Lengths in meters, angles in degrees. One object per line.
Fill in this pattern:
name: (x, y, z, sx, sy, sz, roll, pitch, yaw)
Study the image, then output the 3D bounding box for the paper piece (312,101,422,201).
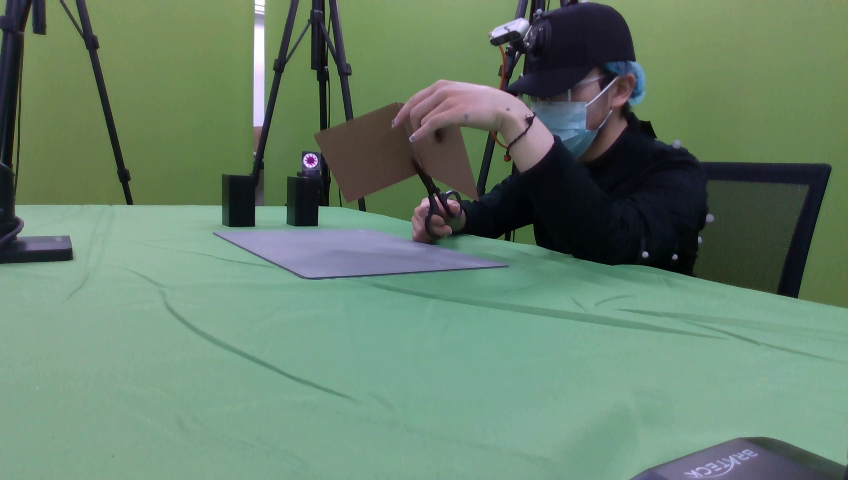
paper piece: (-0.082, -0.133, 0.926, 0.136, 0.136, 0.004, -23, 42, -1)

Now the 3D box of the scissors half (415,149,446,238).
scissors half: (0.007, -0.075, 1.000, 0.040, 0.175, 0.012, -35, 39, -28)

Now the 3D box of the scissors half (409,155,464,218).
scissors half: (0.022, -0.091, 1.008, 0.013, 0.040, 0.176, 19, -14, 41)

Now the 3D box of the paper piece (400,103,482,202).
paper piece: (0.025, -0.128, 0.880, 0.008, 0.136, 0.137, -42, 46, -18)
